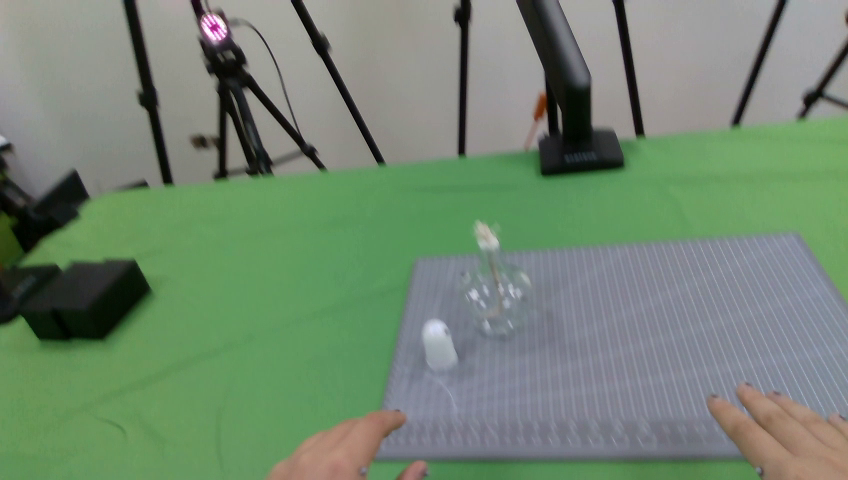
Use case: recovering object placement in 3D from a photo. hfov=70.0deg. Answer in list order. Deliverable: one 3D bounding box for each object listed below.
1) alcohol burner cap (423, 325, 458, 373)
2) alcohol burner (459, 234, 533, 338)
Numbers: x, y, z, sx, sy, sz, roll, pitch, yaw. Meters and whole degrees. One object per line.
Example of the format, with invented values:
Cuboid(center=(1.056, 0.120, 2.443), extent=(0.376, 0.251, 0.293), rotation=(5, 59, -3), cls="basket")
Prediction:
Cuboid(center=(0.015, 0.107, 0.610), extent=(0.034, 0.048, 0.033), rotation=(-8, 33, 5), cls="alcohol burner cap")
Cuboid(center=(0.073, 0.043, 0.624), extent=(0.078, 0.120, 0.077), rotation=(-6, 34, 5), cls="alcohol burner")
